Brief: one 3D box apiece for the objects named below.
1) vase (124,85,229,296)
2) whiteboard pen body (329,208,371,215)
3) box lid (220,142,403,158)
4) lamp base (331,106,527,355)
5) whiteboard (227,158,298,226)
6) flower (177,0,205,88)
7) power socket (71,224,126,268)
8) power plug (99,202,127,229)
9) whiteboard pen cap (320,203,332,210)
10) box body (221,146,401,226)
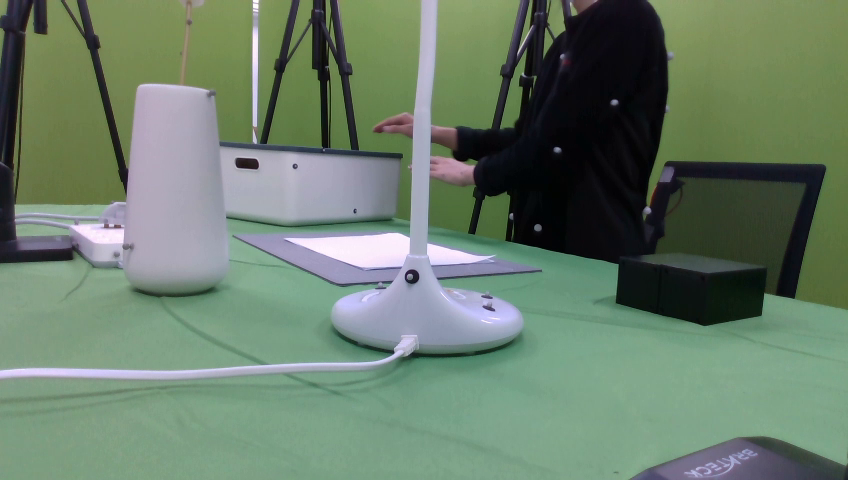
[{"bbox_3d":[-0.244,-0.047,0.598,0.098,0.200,0.098,3,8,0],"label":"vase"},{"bbox_3d":[-0.189,-0.073,1.522,0.140,0.017,0.017,3,6,37],"label":"whiteboard pen body"},{"bbox_3d":[-0.252,-0.202,1.368,0.262,0.015,0.373,9,9,36],"label":"box lid"},{"bbox_3d":[0.006,-0.012,0.478,0.161,0.180,0.179,2,10,2],"label":"lamp base"},{"bbox_3d":[-0.265,-0.116,1.372,0.216,0.143,0.307,4,7,35],"label":"whiteboard"},{"bbox_3d":[-0.243,-0.131,0.609,0.044,0.361,0.038,-5,-12,11],"label":"flower"},{"bbox_3d":[-0.409,0.004,0.793,0.072,0.032,0.225,-2,8,-37],"label":"power socket"},{"bbox_3d":[-0.415,-0.026,0.848,0.073,0.052,0.035,6,5,-28],"label":"power plug"},{"bbox_3d":[-0.247,-0.083,1.531,0.033,0.018,0.018,9,10,39],"label":"whiteboard pen cap"},{"bbox_3d":[-0.254,-0.129,1.379,0.253,0.160,0.366,8,9,36],"label":"box body"}]
